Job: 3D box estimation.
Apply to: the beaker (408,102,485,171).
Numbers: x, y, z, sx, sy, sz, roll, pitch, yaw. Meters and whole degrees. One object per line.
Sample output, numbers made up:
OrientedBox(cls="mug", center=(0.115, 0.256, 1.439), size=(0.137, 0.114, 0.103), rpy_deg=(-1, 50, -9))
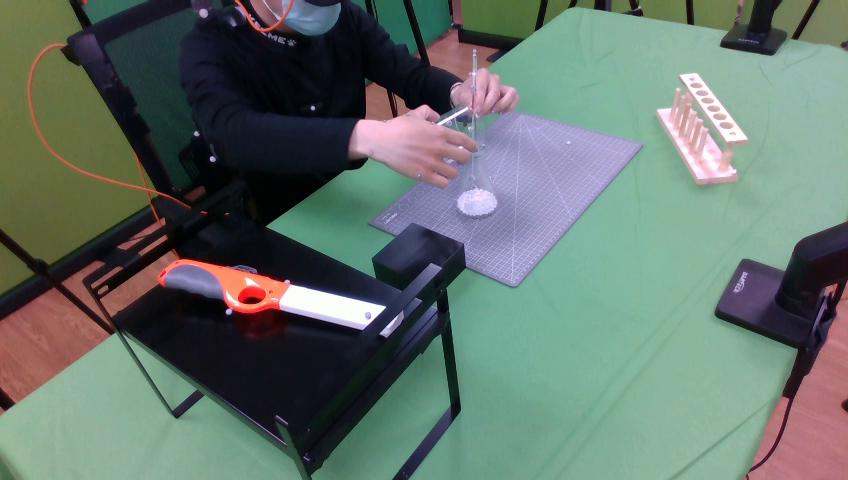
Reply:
OrientedBox(cls="beaker", center=(0.033, -0.153, 0.923), size=(0.100, 0.084, 0.073), rpy_deg=(-32, 35, -23))

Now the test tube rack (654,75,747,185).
OrientedBox(cls="test tube rack", center=(0.491, -0.205, 1.092), size=(0.067, 0.085, 0.241), rpy_deg=(-5, 40, 3))

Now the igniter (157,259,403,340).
OrientedBox(cls="igniter", center=(-0.157, 0.059, 0.637), size=(0.275, 0.025, 0.057), rpy_deg=(11, 43, 14))

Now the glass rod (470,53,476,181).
OrientedBox(cls="glass rod", center=(0.077, -0.192, 0.960), size=(0.008, 0.200, 0.008), rpy_deg=(0, 13, 0))

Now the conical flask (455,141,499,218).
OrientedBox(cls="conical flask", center=(0.085, -0.103, 0.999), size=(0.075, 0.122, 0.075), rpy_deg=(-4, 40, 4))
